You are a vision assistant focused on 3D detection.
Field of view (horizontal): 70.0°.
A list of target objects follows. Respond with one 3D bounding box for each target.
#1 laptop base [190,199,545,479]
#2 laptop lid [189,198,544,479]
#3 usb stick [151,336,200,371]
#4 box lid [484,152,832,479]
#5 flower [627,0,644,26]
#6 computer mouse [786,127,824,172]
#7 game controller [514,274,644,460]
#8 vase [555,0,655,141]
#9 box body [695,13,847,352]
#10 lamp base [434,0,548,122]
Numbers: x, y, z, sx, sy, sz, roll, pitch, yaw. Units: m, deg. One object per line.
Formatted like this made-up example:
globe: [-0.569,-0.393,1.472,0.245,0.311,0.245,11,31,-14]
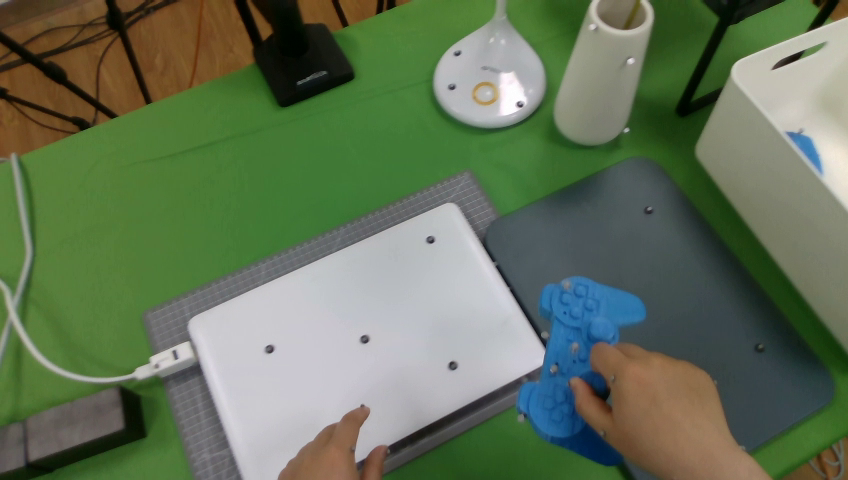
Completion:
laptop base: [-0.068,0.113,0.701,0.354,0.023,0.233,-25,70,-10]
laptop lid: [-0.067,0.110,0.690,0.357,0.013,0.239,-23,68,-9]
usb stick: [-0.274,0.126,0.686,0.059,0.027,0.021,-21,65,-14]
box lid: [0.262,0.072,0.715,0.263,0.015,0.368,-25,66,-11]
flower: [0.236,-0.255,0.677,0.038,0.364,0.043,-10,54,-21]
computer mouse: [0.467,-0.099,0.769,0.062,0.041,0.116,9,61,10]
game controller: [0.137,0.101,0.526,0.097,0.052,0.154,14,65,11]
vase: [0.221,-0.211,0.748,0.098,0.201,0.097,-2,63,3]
box body: [0.524,-0.065,0.689,0.254,0.161,0.360,-23,66,-8]
lamp base: [0.094,-0.278,0.795,0.160,0.181,0.178,6,62,5]
